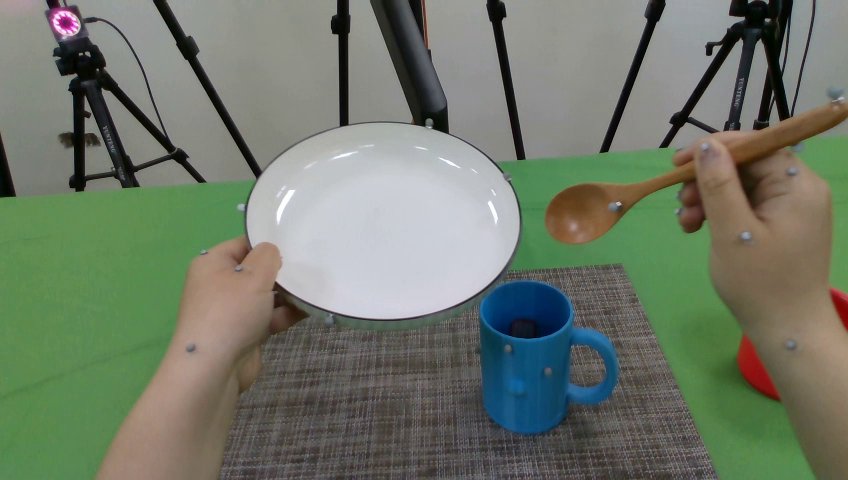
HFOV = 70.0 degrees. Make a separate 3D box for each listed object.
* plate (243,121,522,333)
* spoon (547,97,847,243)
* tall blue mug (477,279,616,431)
[{"bbox_3d":[-0.030,-0.013,0.468,0.208,0.039,0.205,2,49,-2],"label":"plate"},{"bbox_3d":[0.148,-0.037,0.360,0.022,0.041,0.193,-11,-8,-35],"label":"spoon"},{"bbox_3d":[0.101,0.097,0.519,0.107,0.109,0.077,-8,34,-3],"label":"tall blue mug"}]
